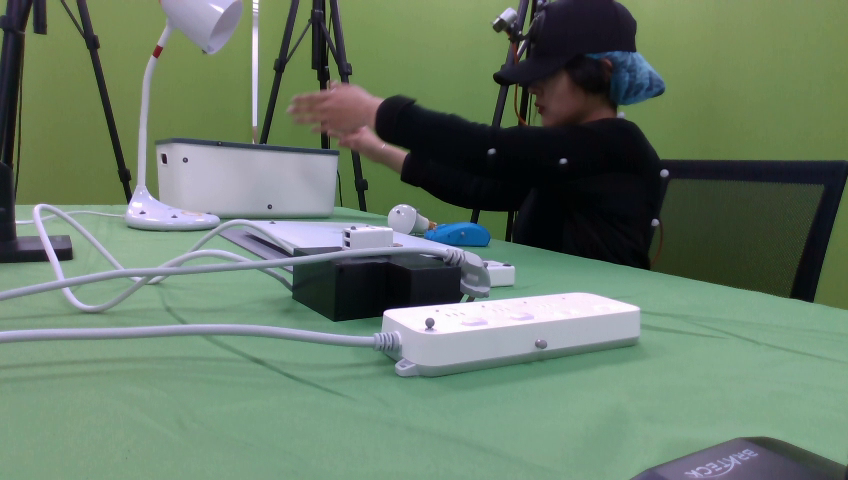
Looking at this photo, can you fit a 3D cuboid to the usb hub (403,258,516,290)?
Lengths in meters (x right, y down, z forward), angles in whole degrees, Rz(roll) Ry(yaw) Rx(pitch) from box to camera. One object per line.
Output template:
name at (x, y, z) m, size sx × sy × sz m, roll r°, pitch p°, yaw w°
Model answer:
usb hub at (0.042, 0.038, 0.690) m, size 0.126 × 0.025 × 0.049 m, roll -2°, pitch 9°, yaw -30°

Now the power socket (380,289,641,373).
power socket at (0.072, 0.064, 0.461) m, size 0.228 × 0.032 × 0.072 m, roll -2°, pitch 8°, yaw -30°

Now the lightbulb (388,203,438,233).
lightbulb at (-0.017, -0.035, 1.162) m, size 0.108 × 0.059 × 0.059 m, roll 16°, pitch 0°, yaw -27°

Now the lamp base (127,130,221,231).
lamp base at (-0.469, -0.112, 1.108) m, size 0.179 × 0.180 × 0.160 m, roll 0°, pitch 7°, yaw 4°

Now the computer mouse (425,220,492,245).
computer mouse at (0.060, -0.013, 1.060) m, size 0.117 × 0.041 × 0.062 m, roll -2°, pitch 10°, yaw -6°

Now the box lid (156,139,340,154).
box lid at (-0.409, -0.213, 1.404) m, size 0.373 × 0.015 × 0.262 m, roll -2°, pitch 7°, yaw -32°

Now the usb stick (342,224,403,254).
usb stick at (-0.047, -0.001, 0.567) m, size 0.059 × 0.027 × 0.021 m, roll 0°, pitch 5°, yaw -32°

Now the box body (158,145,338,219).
box body at (-0.410, -0.139, 1.414) m, size 0.366 × 0.160 × 0.253 m, roll -3°, pitch 8°, yaw -33°

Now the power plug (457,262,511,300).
power plug at (0.052, 0.051, 0.543) m, size 0.035 × 0.052 × 0.072 m, roll 6°, pitch 37°, yaw -19°

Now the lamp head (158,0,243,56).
lamp head at (-0.398, -0.397, 1.057) m, size 0.123 × 0.112 × 0.112 m, roll 27°, pitch 5°, yaw -7°

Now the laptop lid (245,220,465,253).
laptop lid at (-0.124, -0.009, 0.945) m, size 0.243 × 0.013 × 0.355 m, roll 1°, pitch 7°, yaw -29°

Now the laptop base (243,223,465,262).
laptop base at (-0.126, 0.003, 0.946) m, size 0.237 × 0.023 × 0.352 m, roll 2°, pitch 6°, yaw -31°
